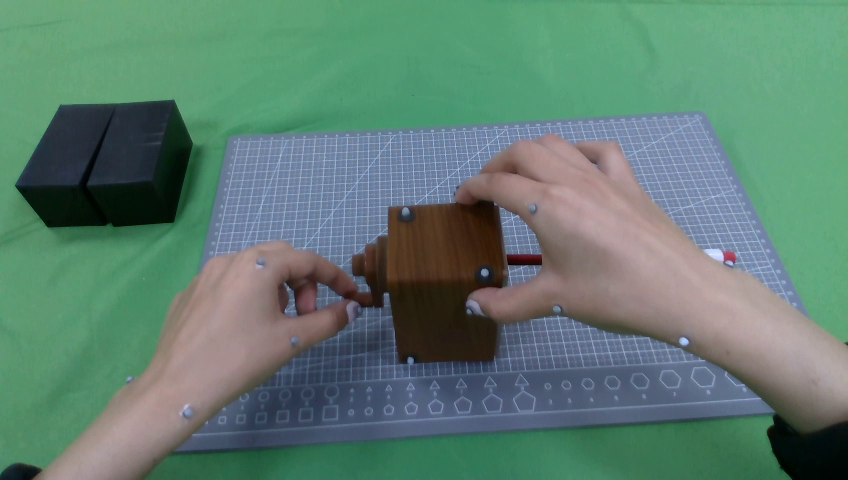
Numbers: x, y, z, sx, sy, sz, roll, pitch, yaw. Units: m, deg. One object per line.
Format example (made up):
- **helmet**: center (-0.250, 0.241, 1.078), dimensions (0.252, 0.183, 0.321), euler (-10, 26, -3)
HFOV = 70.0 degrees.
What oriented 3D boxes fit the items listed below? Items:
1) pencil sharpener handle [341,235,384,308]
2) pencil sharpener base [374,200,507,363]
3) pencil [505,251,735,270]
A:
- **pencil sharpener handle**: center (-0.042, 0.025, 0.386), dimensions (0.030, 0.068, 0.035), euler (-2, 54, 0)
- **pencil sharpener base**: center (0.010, 0.031, 0.395), dimensions (0.077, 0.108, 0.061), euler (-2, 52, 0)
- **pencil**: center (0.096, 0.014, 0.376), dimensions (0.194, 0.012, 0.012), euler (-1, 51, -1)
